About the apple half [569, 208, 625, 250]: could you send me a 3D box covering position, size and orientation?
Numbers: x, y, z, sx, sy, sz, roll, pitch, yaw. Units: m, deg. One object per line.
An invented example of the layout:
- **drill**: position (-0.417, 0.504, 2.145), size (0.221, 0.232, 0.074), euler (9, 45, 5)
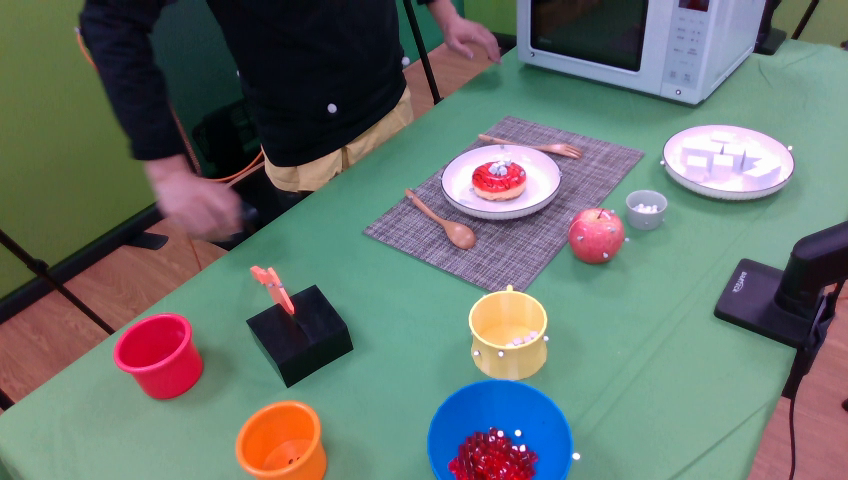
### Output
- **apple half**: position (0.262, -0.014, 0.913), size (0.080, 0.075, 0.053), euler (5, 37, 20)

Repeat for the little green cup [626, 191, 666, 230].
- **little green cup**: position (0.352, -0.046, 0.963), size (0.061, 0.039, 0.061), euler (-4, 40, 4)

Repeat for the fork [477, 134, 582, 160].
- **fork**: position (0.198, -0.181, 1.155), size (0.206, 0.019, 0.028), euler (13, 54, 22)

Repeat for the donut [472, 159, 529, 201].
- **donut**: position (0.131, -0.105, 1.043), size (0.099, 0.048, 0.098), euler (-5, 38, 4)

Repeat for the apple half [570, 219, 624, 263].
- **apple half**: position (0.250, 0.010, 0.885), size (0.081, 0.081, 0.033), euler (7, 39, 17)

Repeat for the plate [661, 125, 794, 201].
- **plate**: position (0.513, -0.128, 1.035), size (0.207, 0.039, 0.206), euler (-4, 40, 4)

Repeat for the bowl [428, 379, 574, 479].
- **bowl**: position (0.082, 0.233, 0.644), size (0.151, 0.077, 0.150), euler (-4, 39, 4)

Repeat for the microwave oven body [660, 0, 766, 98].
- **microwave oven body**: position (0.472, -0.513, 1.317), size (0.438, 0.261, 0.327), euler (26, 51, 34)

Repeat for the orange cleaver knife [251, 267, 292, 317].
- **orange cleaver knife**: position (-0.221, 0.072, 0.874), size (0.012, 0.077, 0.210), euler (-25, 11, -21)

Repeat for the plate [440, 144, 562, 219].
- **plate**: position (0.134, -0.098, 1.051), size (0.209, 0.038, 0.208), euler (-4, 40, 4)

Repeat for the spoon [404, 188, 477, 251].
- **spoon**: position (0.021, -0.039, 1.019), size (0.042, 0.022, 0.192), euler (-29, 45, -24)

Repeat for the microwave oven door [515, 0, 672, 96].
- **microwave oven door**: position (0.343, -0.454, 1.259), size (0.353, 0.245, 0.039), euler (26, 51, 33)

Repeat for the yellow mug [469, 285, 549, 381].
- **yellow mug**: position (0.112, 0.112, 0.792), size (0.100, 0.064, 0.130), euler (0, 40, 9)

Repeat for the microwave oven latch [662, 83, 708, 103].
- **microwave oven latch**: position (0.517, -0.296, 1.204), size (0.078, 0.029, 0.030), euler (27, 52, 35)
